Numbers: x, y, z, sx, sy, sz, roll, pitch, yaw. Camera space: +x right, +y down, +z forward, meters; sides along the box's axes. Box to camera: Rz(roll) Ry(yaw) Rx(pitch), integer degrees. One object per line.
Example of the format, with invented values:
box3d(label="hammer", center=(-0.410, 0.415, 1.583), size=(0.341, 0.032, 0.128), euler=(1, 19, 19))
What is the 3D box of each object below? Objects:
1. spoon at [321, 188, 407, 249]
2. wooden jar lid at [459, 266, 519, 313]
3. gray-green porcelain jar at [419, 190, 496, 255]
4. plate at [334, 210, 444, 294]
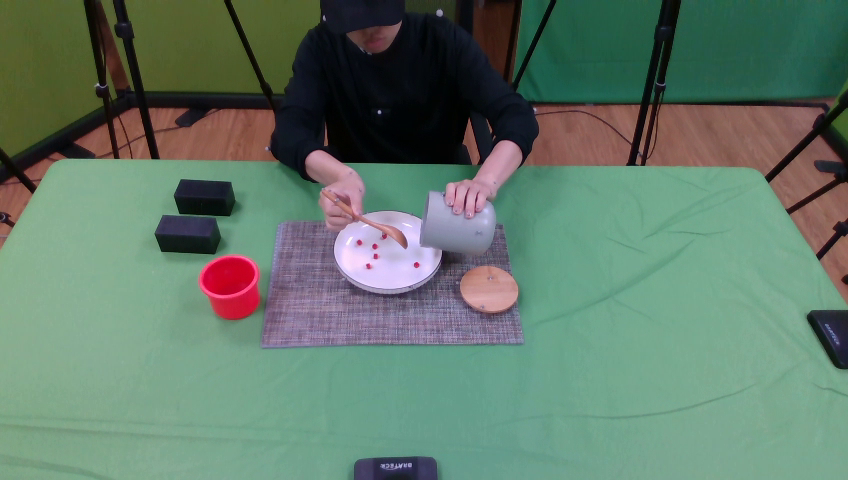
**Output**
box3d(label="spoon", center=(-0.104, -0.037, 1.078), size=(0.194, 0.021, 0.041), euler=(29, 30, -25))
box3d(label="wooden jar lid", center=(0.118, 0.093, 1.111), size=(0.108, 0.021, 0.107), euler=(1, 47, -1))
box3d(label="gray-green porcelain jar", center=(0.061, -0.030, 1.102), size=(0.126, 0.106, 0.105), euler=(8, 46, -5))
box3d(label="plate", center=(-0.066, 0.026, 1.150), size=(0.208, 0.039, 0.206), euler=(2, 46, -2))
